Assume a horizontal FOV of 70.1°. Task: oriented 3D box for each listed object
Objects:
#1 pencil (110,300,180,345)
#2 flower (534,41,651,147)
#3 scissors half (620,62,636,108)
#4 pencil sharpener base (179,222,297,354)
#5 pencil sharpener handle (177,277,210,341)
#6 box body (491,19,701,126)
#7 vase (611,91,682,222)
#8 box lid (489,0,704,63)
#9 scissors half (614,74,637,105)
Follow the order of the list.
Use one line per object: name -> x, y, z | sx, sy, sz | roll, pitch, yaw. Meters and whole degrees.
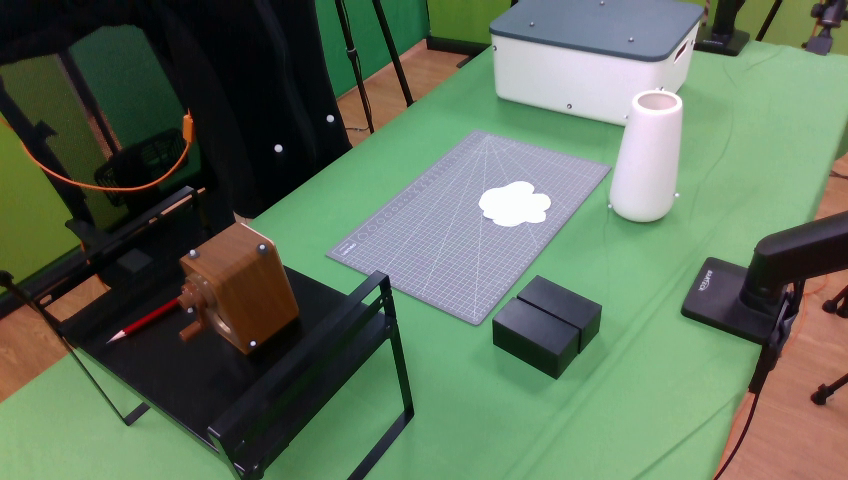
pencil -> -0.257, 0.059, 0.675 | 0.195, 0.012, 0.012 | -36, 48, -27
flower -> 0.364, -0.319, 1.319 | 0.038, 0.044, 0.359 | -4, 48, -50
scissors half -> 0.434, -0.340, 1.298 | 0.013, 0.040, 0.174 | 25, 42, -11
pencil sharpener base -> -0.182, 0.050, 0.598 | 0.061, 0.107, 0.077 | 27, 51, 33
pencil sharpener handle -> -0.220, 0.067, 0.564 | 0.036, 0.068, 0.031 | 34, 55, 24
box body -> 0.352, -0.384, 1.268 | 0.361, 0.161, 0.255 | 21, 48, 29
vase -> 0.348, -0.125, 0.935 | 0.098, 0.201, 0.097 | -3, 40, 3
box lid -> 0.345, -0.441, 1.217 | 0.369, 0.015, 0.264 | 21, 49, 29
scissors half -> 0.427, -0.330, 1.306 | 0.013, 0.040, 0.174 | 31, 31, -14
